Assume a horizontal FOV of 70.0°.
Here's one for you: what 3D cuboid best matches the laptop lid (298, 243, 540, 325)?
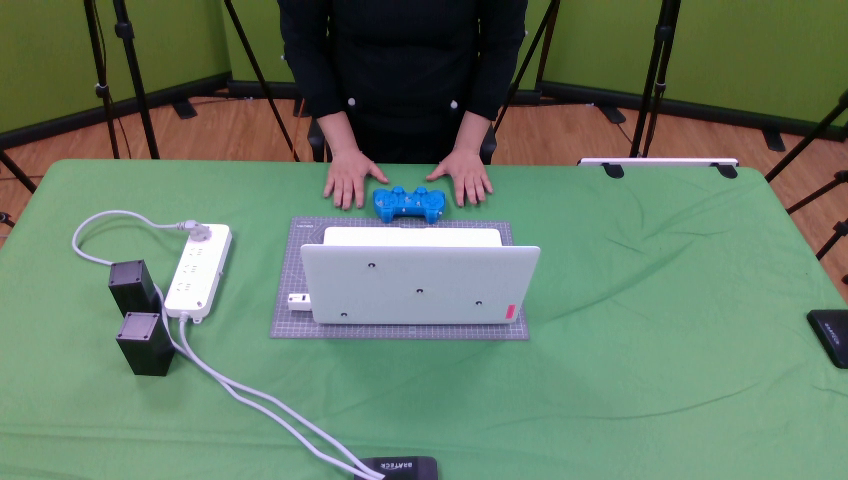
[{"bbox_3d":[-0.010,0.076,0.958,0.357,0.243,0.013,1,53,-5],"label":"laptop lid"}]

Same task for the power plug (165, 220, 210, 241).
[{"bbox_3d":[-0.440,-0.015,1.144,0.072,0.053,0.035,7,46,9],"label":"power plug"}]

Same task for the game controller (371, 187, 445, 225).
[{"bbox_3d":[-0.033,-0.079,1.254,0.155,0.052,0.096,1,48,-3],"label":"game controller"}]

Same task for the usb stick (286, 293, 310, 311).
[{"bbox_3d":[-0.210,0.109,1.059,0.059,0.027,0.021,4,44,-6],"label":"usb stick"}]

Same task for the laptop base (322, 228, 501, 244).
[{"bbox_3d":[-0.020,0.063,1.136,0.355,0.023,0.234,0,43,-4],"label":"laptop base"}]

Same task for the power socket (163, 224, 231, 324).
[{"bbox_3d":[-0.411,0.052,1.107,0.072,0.033,0.225,3,46,-3],"label":"power socket"}]
